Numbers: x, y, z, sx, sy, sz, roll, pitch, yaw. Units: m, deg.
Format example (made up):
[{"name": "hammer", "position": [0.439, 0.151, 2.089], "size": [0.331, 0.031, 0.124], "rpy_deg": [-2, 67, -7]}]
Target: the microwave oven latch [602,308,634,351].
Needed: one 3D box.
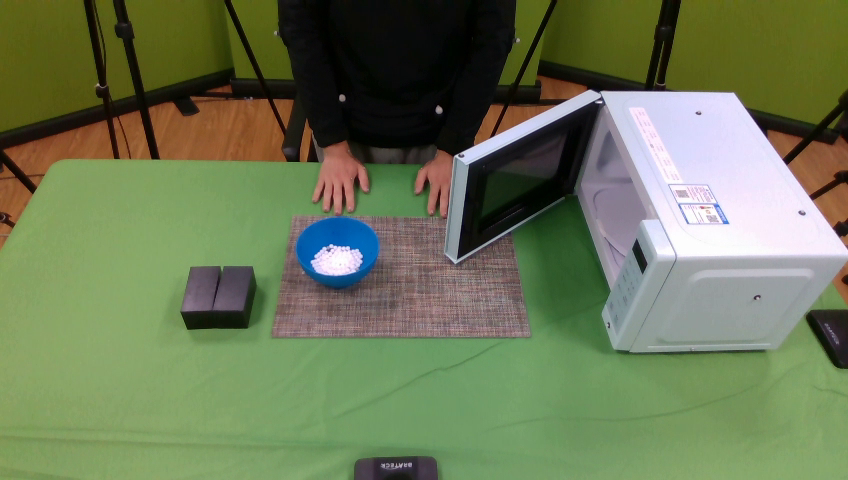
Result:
[{"name": "microwave oven latch", "position": [0.332, 0.153, 1.043], "size": [0.030, 0.029, 0.078], "rpy_deg": [0, 45, -4]}]

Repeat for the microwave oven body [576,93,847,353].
[{"name": "microwave oven body", "position": [0.475, -0.041, 1.109], "size": [0.326, 0.261, 0.438], "rpy_deg": [-1, 45, -4]}]

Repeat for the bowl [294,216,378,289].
[{"name": "bowl", "position": [-0.158, 0.036, 1.110], "size": [0.151, 0.077, 0.150], "rpy_deg": [3, 45, -2]}]

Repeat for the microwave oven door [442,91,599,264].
[{"name": "microwave oven door", "position": [0.187, -0.123, 1.160], "size": [0.356, 0.245, 0.039], "rpy_deg": [-29, 55, -28]}]
